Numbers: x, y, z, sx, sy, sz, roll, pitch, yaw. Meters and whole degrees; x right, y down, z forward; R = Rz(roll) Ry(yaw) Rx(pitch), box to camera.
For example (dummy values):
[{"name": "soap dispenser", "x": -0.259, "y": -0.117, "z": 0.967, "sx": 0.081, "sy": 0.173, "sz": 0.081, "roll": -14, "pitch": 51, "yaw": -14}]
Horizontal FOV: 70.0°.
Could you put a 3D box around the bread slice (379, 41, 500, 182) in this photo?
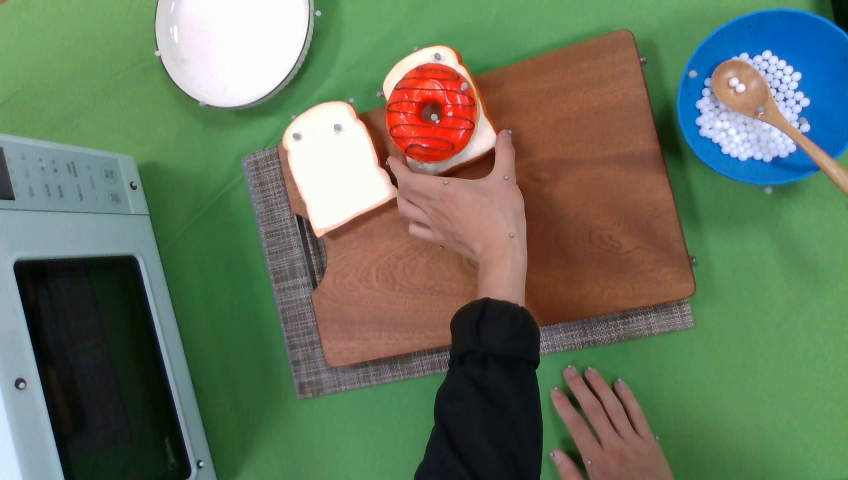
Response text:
[{"name": "bread slice", "x": 0.006, "y": -0.139, "z": 0.634, "sx": 0.105, "sy": 0.019, "sz": 0.131, "roll": -24, "pitch": 84, "yaw": 14}]

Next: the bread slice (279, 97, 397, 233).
[{"name": "bread slice", "x": -0.103, "y": -0.087, "z": 0.666, "sx": 0.107, "sy": 0.018, "sz": 0.134, "roll": -29, "pitch": 83, "yaw": 14}]

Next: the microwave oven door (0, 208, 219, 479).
[{"name": "microwave oven door", "x": -0.343, "y": 0.141, "z": 0.638, "sx": 0.039, "sy": 0.244, "sz": 0.355, "roll": -17, "pitch": 87, "yaw": 16}]

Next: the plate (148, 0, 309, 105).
[{"name": "plate", "x": -0.227, "y": -0.262, "z": 0.715, "sx": 0.207, "sy": 0.039, "sz": 0.207, "roll": 0, "pitch": 92, "yaw": 16}]

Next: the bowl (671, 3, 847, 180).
[{"name": "bowl", "x": 0.301, "y": -0.127, "z": 0.552, "sx": 0.151, "sy": 0.077, "sz": 0.151, "roll": 1, "pitch": 92, "yaw": 16}]

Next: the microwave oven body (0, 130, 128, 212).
[{"name": "microwave oven body", "x": -0.488, "y": 0.140, "z": 0.684, "sx": 0.325, "sy": 0.261, "sz": 0.441, "roll": -16, "pitch": 88, "yaw": 15}]

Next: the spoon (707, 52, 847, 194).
[{"name": "spoon", "x": 0.316, "y": -0.090, "z": 0.516, "sx": 0.041, "sy": 0.022, "sz": 0.192, "roll": -41, "pitch": 63, "yaw": 18}]

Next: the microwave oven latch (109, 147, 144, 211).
[{"name": "microwave oven latch", "x": -0.372, "y": -0.072, "z": 0.743, "sx": 0.030, "sy": 0.029, "sz": 0.079, "roll": -16, "pitch": 88, "yaw": 15}]

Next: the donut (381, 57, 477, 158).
[{"name": "donut", "x": 0.005, "y": -0.132, "z": 0.605, "sx": 0.099, "sy": 0.048, "sz": 0.099, "roll": 0, "pitch": 92, "yaw": 15}]
